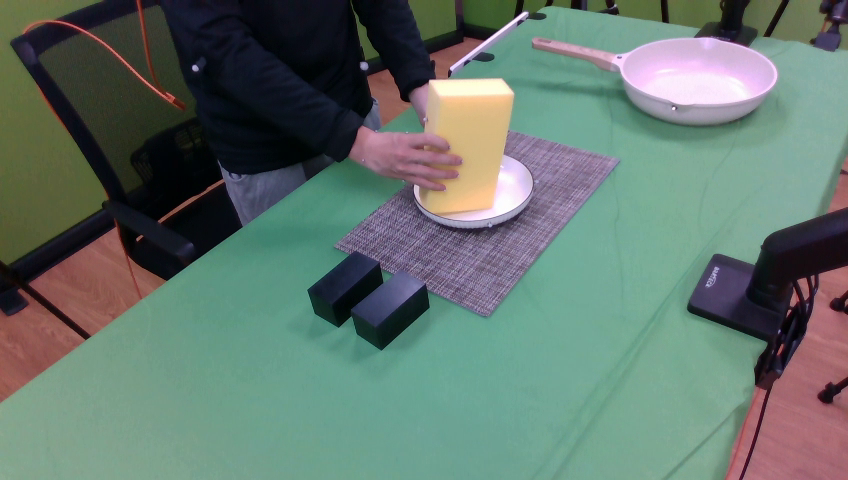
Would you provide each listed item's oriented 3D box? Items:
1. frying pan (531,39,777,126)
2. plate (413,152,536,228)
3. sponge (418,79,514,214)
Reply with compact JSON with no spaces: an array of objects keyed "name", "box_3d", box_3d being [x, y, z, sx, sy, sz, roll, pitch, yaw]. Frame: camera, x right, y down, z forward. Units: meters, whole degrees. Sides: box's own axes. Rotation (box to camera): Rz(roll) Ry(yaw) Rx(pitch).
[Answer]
[{"name":"frying pan","box_3d":[0.452,-0.354,1.254,0.485,0.103,0.307,22,47,19]},{"name":"plate","box_3d":[0.087,-0.085,1.038,0.207,0.039,0.206,-4,41,4]},{"name":"sponge","box_3d":[0.061,-0.145,0.958,0.119,0.207,0.060,-5,39,-15]}]
